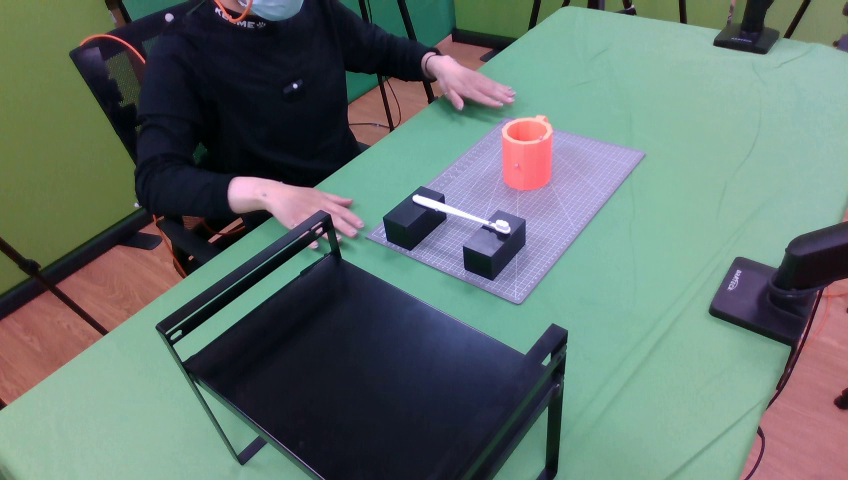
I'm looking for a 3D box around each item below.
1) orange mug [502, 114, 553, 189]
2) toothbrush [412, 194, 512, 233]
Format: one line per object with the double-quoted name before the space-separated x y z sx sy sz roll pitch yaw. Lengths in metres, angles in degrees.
"orange mug" 0.190 -0.164 1.071 0.083 0.101 0.126 16 50 25
"toothbrush" 0.055 -0.044 0.936 0.180 0.017 0.014 20 63 30
